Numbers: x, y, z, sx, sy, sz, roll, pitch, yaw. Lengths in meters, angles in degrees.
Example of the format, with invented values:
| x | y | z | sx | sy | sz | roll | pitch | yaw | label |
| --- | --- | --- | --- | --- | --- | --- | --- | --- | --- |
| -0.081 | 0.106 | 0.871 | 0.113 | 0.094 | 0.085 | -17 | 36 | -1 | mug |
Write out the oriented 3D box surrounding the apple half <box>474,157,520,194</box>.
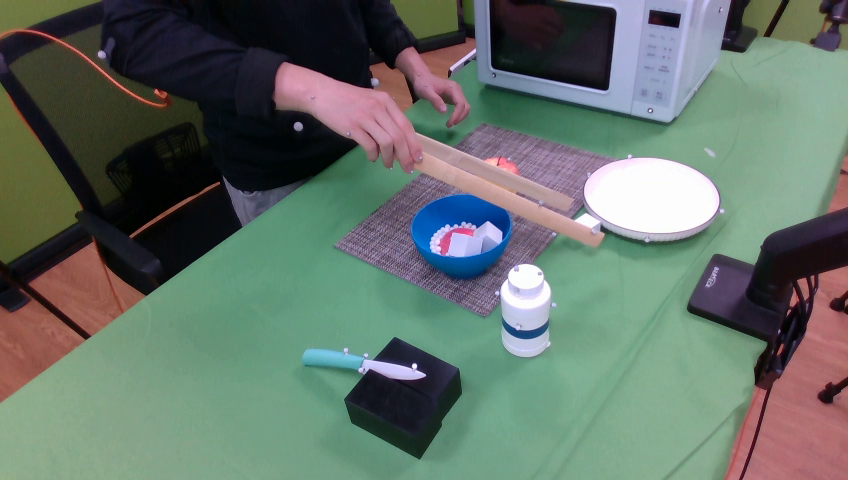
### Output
| x | y | z | sx | sy | sz | roll | pitch | yaw | label |
| --- | --- | --- | --- | --- | --- | --- | --- | --- | --- |
| 0.128 | -0.107 | 1.030 | 0.080 | 0.075 | 0.053 | 5 | 38 | 19 | apple half |

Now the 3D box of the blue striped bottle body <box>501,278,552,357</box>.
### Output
| x | y | z | sx | sy | sz | roll | pitch | yaw | label |
| --- | --- | --- | --- | --- | --- | --- | --- | --- | --- |
| 0.130 | 0.088 | 0.769 | 0.063 | 0.121 | 0.063 | -4 | 41 | 4 | blue striped bottle body |

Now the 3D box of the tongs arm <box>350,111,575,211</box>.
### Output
| x | y | z | sx | sy | sz | roll | pitch | yaw | label |
| --- | --- | --- | --- | --- | --- | --- | --- | --- | --- |
| 0.071 | -0.106 | 0.867 | 0.391 | 0.028 | 0.028 | 18 | 31 | -28 | tongs arm |

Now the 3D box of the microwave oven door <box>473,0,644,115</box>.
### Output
| x | y | z | sx | sy | sz | roll | pitch | yaw | label |
| --- | --- | --- | --- | --- | --- | --- | --- | --- | --- |
| 0.257 | -0.396 | 1.199 | 0.353 | 0.245 | 0.039 | 21 | 48 | 29 | microwave oven door |

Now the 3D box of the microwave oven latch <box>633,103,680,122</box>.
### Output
| x | y | z | sx | sy | sz | roll | pitch | yaw | label |
| --- | --- | --- | --- | --- | --- | --- | --- | --- | --- |
| 0.444 | -0.249 | 1.158 | 0.078 | 0.029 | 0.030 | 21 | 49 | 30 | microwave oven latch |

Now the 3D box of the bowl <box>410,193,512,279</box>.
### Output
| x | y | z | sx | sy | sz | roll | pitch | yaw | label |
| --- | --- | --- | --- | --- | --- | --- | --- | --- | --- |
| 0.058 | 0.005 | 0.905 | 0.151 | 0.077 | 0.150 | -4 | 40 | 4 | bowl |

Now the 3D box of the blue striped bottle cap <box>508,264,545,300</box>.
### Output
| x | y | z | sx | sy | sz | roll | pitch | yaw | label |
| --- | --- | --- | --- | --- | --- | --- | --- | --- | --- |
| 0.125 | 0.051 | 0.735 | 0.044 | 0.021 | 0.044 | -5 | 39 | 5 | blue striped bottle cap |

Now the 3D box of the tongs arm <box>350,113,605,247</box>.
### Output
| x | y | z | sx | sy | sz | roll | pitch | yaw | label |
| --- | --- | --- | --- | --- | --- | --- | --- | --- | --- |
| 0.083 | -0.074 | 0.815 | 0.387 | 0.026 | 0.050 | 21 | 26 | -22 | tongs arm |

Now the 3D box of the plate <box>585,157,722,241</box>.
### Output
| x | y | z | sx | sy | sz | roll | pitch | yaw | label |
| --- | --- | --- | --- | --- | --- | --- | --- | --- | --- |
| 0.367 | -0.063 | 0.979 | 0.207 | 0.039 | 0.206 | -4 | 40 | 4 | plate |

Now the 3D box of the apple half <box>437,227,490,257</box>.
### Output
| x | y | z | sx | sy | sz | roll | pitch | yaw | label |
| --- | --- | --- | --- | --- | --- | --- | --- | --- | --- |
| 0.056 | 0.001 | 0.902 | 0.081 | 0.033 | 0.081 | -3 | 41 | 3 | apple half |

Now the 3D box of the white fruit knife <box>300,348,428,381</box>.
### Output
| x | y | z | sx | sy | sz | roll | pitch | yaw | label |
| --- | --- | --- | --- | --- | --- | --- | --- | --- | --- |
| -0.079 | 0.154 | 0.748 | 0.206 | 0.027 | 0.016 | 1 | 21 | 34 | white fruit knife |

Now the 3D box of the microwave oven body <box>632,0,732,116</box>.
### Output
| x | y | z | sx | sy | sz | roll | pitch | yaw | label |
| --- | --- | --- | --- | --- | --- | --- | --- | --- | --- |
| 0.377 | -0.463 | 1.267 | 0.438 | 0.261 | 0.327 | 21 | 49 | 30 | microwave oven body |
